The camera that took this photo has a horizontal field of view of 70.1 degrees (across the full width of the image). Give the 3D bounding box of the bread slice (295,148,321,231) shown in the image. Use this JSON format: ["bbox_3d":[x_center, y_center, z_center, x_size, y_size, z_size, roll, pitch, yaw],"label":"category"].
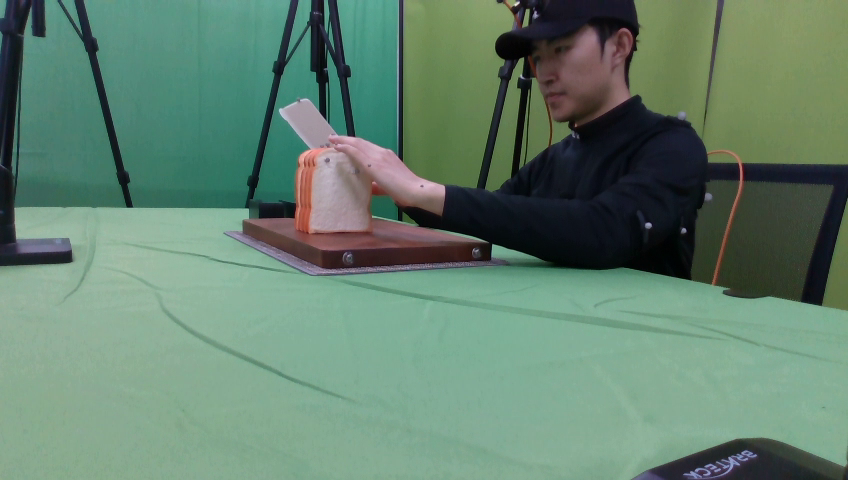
[{"bbox_3d":[-0.158,-0.081,0.970,0.105,0.131,0.019,-2,3,-33],"label":"bread slice"}]

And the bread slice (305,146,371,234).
[{"bbox_3d":[-0.132,-0.075,0.922,0.107,0.134,0.018,-5,9,-34],"label":"bread slice"}]

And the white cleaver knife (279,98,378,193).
[{"bbox_3d":[-0.174,-0.170,1.154,0.066,0.021,0.288,-27,-38,11],"label":"white cleaver knife"}]
